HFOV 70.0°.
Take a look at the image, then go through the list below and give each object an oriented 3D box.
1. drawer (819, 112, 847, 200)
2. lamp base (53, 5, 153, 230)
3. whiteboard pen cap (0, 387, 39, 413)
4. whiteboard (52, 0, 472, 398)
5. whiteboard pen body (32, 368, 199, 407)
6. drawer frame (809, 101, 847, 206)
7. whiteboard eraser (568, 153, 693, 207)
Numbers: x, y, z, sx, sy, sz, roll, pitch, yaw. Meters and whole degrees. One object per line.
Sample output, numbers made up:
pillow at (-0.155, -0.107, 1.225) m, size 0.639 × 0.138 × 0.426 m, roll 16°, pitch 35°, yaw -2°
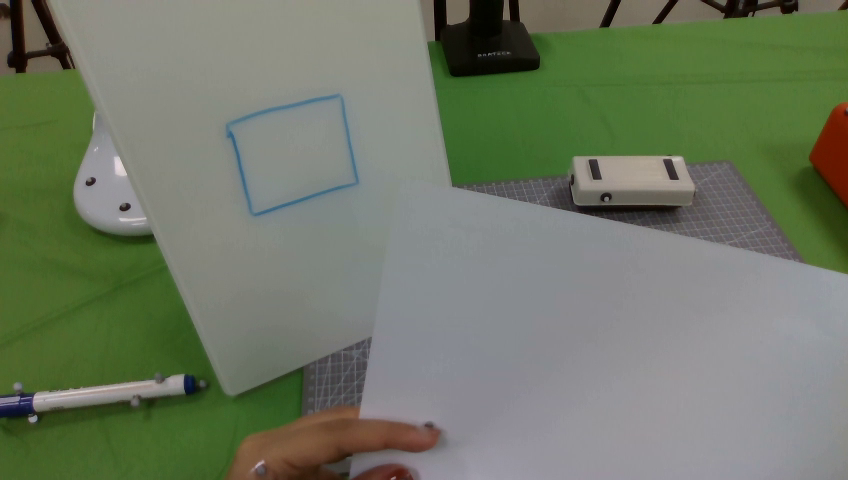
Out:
drawer at (0.511, -0.038, 0.549) m, size 0.194 × 0.074 × 0.209 m, roll -4°, pitch 45°, yaw -1°
lamp base at (-0.293, -0.127, 0.586) m, size 0.178 × 0.182 × 0.160 m, roll 25°, pitch 51°, yaw 27°
whiteboard pen cap at (-0.305, 0.120, 0.452) m, size 0.033 × 0.018 × 0.018 m, roll -4°, pitch 45°, yaw -11°
whiteboard at (-0.108, -0.072, 0.482) m, size 0.217 × 0.308 × 0.142 m, roll -21°, pitch 29°, yaw -17°
whiteboard pen body at (-0.246, 0.114, 0.461) m, size 0.141 × 0.017 × 0.017 m, roll -6°, pitch 46°, yaw -9°
drawer frame at (0.511, -0.043, 0.553) m, size 0.202 × 0.083 × 0.211 m, roll -5°, pitch 45°, yaw -2°
whiteboard eraser at (0.202, -0.058, 0.600) m, size 0.113 × 0.042 × 0.055 m, roll 0°, pitch 44°, yaw 1°
